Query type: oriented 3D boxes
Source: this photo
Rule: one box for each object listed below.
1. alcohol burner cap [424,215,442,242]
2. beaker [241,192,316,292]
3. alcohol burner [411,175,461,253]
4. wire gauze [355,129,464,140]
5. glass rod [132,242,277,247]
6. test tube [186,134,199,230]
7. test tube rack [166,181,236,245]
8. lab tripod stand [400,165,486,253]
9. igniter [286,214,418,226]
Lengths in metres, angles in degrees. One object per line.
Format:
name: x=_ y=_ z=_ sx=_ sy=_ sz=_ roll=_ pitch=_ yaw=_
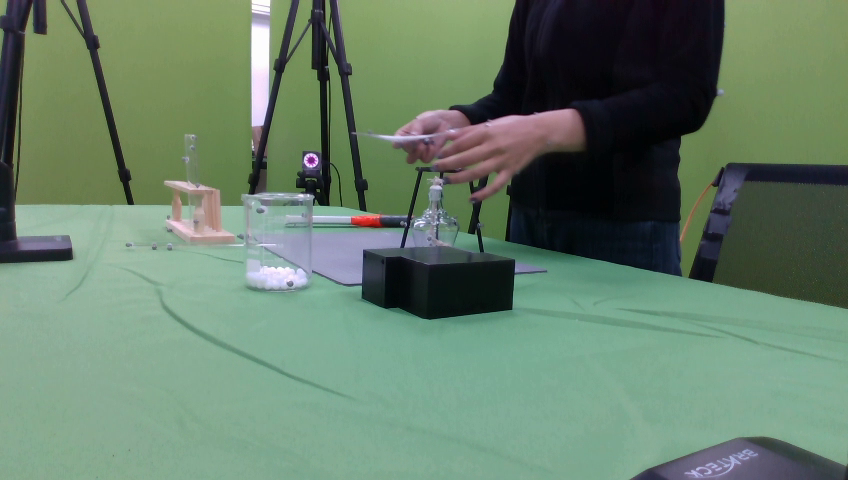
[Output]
alcohol burner cap: x=0.017 y=-0.022 z=1.098 sx=0.034 sy=0.048 sz=0.034 roll=2 pitch=8 yaw=0
beaker: x=-0.157 y=0.000 z=0.642 sx=0.084 sy=0.100 sz=0.074 roll=4 pitch=7 yaw=19
alcohol burner: x=0.018 y=-0.040 z=0.931 sx=0.078 sy=0.119 sz=0.078 roll=0 pitch=6 yaw=0
wire gauze: x=-0.023 y=-0.158 z=0.912 sx=0.122 sy=0.011 sz=0.124 roll=-11 pitch=13 yaw=-39
glass rod: x=-0.316 y=0.007 z=0.884 sx=0.201 sy=0.008 sz=0.008 roll=0 pitch=7 yaw=-27
test tube: x=-0.360 y=-0.089 z=0.946 sx=0.017 sy=0.150 sz=0.017 roll=0 pitch=10 yaw=0
test tube rack: x=-0.383 y=-0.051 z=1.024 sx=0.067 sy=0.085 sz=0.241 roll=-2 pitch=9 yaw=-31
lab tripod stand: x=0.027 y=-0.049 z=0.930 sx=0.148 sy=0.131 sz=0.148 roll=2 pitch=9 yaw=0
igniter: x=-0.145 y=-0.043 z=1.263 sx=0.278 sy=0.025 sz=0.057 roll=-1 pitch=-2 yaw=-24
